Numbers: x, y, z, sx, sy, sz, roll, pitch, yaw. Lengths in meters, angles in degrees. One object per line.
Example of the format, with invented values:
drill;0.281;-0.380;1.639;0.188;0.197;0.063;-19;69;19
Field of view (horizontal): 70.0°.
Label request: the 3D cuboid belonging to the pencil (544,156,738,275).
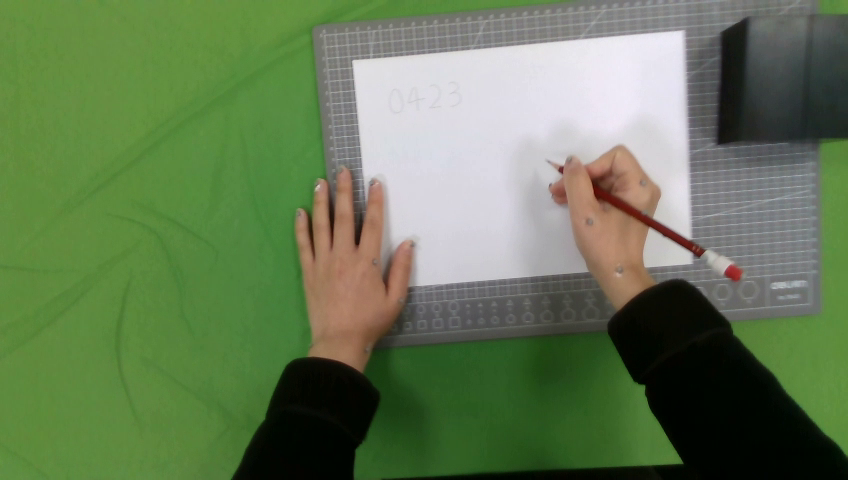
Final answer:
pencil;0.162;-0.027;0.483;0.012;0.012;0.192;-52;49;5
